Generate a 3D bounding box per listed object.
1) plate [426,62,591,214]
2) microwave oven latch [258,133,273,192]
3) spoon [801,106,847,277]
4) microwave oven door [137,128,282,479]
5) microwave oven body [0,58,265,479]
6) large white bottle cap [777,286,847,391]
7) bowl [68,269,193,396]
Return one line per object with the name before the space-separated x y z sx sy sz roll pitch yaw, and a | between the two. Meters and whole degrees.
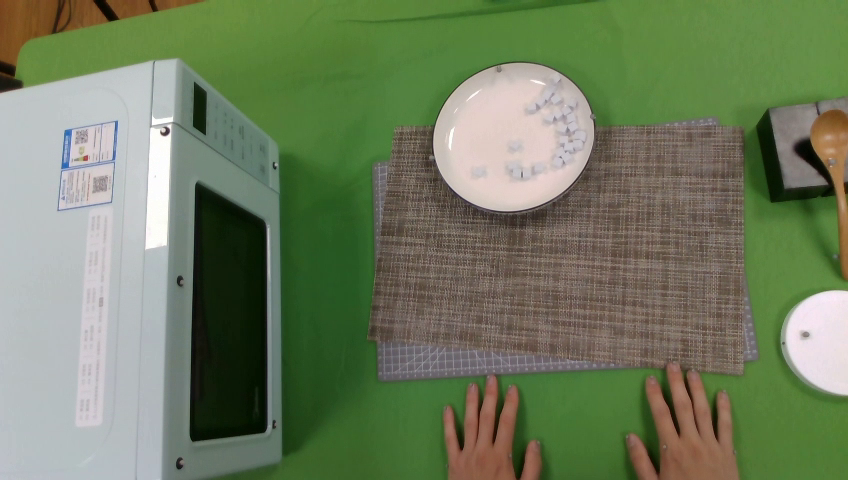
plate | 0.108 -0.130 0.786 0.209 0.038 0.208 -3 75 12
microwave oven latch | -0.227 -0.106 0.842 0.030 0.030 0.078 -7 76 11
spoon | 0.449 -0.050 0.666 0.041 0.021 0.194 -12 97 8
microwave oven door | -0.235 0.082 0.693 0.039 0.245 0.354 -8 75 11
microwave oven body | -0.379 0.062 0.736 0.325 0.262 0.439 -8 76 10
large white bottle cap | 0.453 0.108 0.667 0.114 0.018 0.114 -3 77 11
bowl | -0.344 0.116 0.747 0.151 0.077 0.150 -3 76 11
